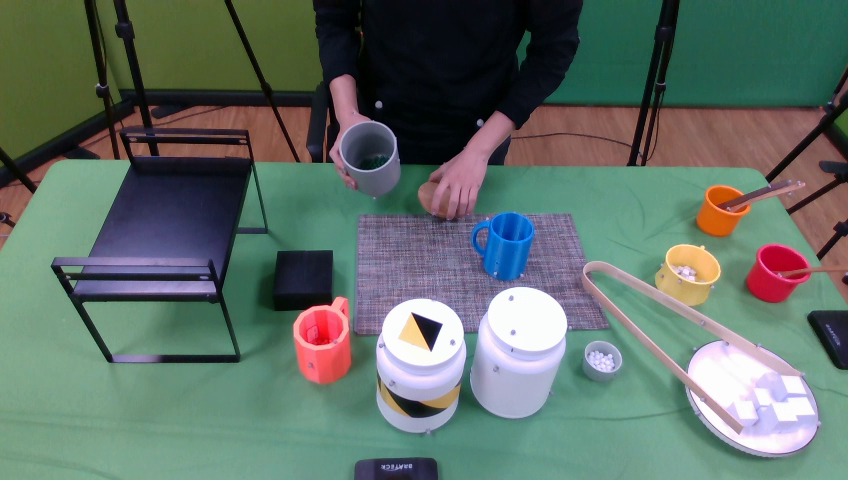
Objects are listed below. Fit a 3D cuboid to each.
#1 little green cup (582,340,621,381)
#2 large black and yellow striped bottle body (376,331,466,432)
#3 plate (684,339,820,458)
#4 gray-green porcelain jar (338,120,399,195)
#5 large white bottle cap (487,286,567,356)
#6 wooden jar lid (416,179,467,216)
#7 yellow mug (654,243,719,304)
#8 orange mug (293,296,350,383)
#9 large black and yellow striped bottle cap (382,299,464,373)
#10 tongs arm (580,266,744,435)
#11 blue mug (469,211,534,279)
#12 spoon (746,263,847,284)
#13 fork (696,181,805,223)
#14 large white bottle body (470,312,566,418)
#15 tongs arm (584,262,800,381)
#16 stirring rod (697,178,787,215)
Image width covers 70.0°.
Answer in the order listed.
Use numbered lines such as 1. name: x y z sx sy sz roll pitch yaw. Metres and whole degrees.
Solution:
1. little green cup: 0.295 0.204 1.015 0.061 0.039 0.061 2 45 -2
2. large black and yellow striped bottle body: -0.007 0.189 0.905 0.131 0.185 0.130 2 46 -2
3. plate: 0.523 0.256 0.982 0.208 0.039 0.206 2 46 -2
4. gray-green porcelain jar: -0.101 -0.151 1.151 0.106 0.127 0.105 0 71 1
5. large white bottle cap: 0.147 0.114 0.869 0.115 0.018 0.114 3 46 -3
6. wooden jar lid: 0.035 -0.086 1.257 0.108 0.021 0.107 9 42 -8
7. yellow mug: 0.504 0.054 1.155 0.099 0.064 0.130 28 49 22
8. orange mug: -0.157 0.154 0.985 0.083 0.101 0.125 17 52 11
9. large black and yellow striped bottle cap: -0.002 0.132 0.843 0.115 0.019 0.114 2 46 -1
10. tongs arm: 0.384 0.173 1.028 0.028 0.028 0.385 -25 46 -15
11. blue mug: 0.141 0.005 1.140 0.116 0.106 0.082 18 48 13
12. spoon: 0.696 0.057 1.113 0.193 0.022 0.041 -16 27 48
13. fork: 0.659 -0.077 1.232 0.207 0.019 0.028 -26 35 34
14. large white bottle body: 0.143 0.173 0.930 0.131 0.185 0.130 2 46 -2
15. tongs arm: 0.451 0.137 1.064 0.051 0.027 0.382 -34 50 -27
16. stirring rod: 0.650 -0.088 1.245 0.006 0.176 0.014 29 49 -39
